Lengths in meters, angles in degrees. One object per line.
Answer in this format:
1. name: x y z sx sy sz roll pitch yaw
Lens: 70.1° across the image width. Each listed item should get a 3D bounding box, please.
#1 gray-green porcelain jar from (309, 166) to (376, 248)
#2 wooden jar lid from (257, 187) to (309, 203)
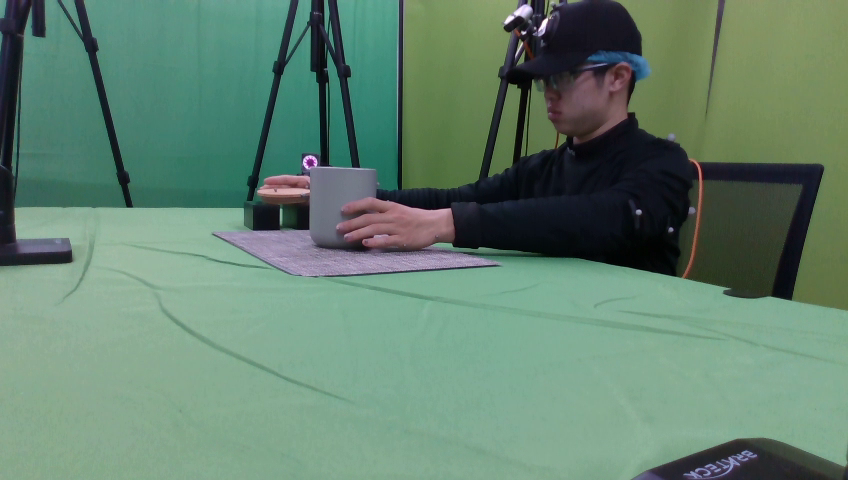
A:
1. gray-green porcelain jar: -0.130 -0.054 0.966 0.106 0.126 0.106 2 7 0
2. wooden jar lid: -0.281 -0.091 1.220 0.108 0.020 0.108 2 12 0
